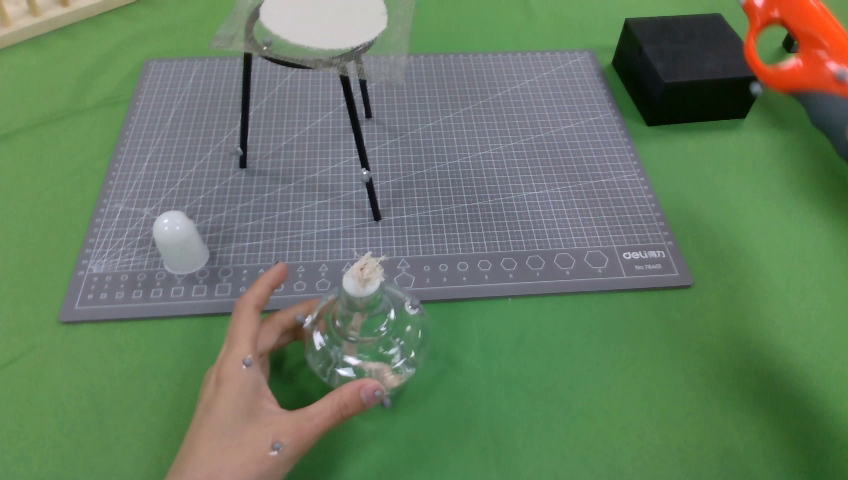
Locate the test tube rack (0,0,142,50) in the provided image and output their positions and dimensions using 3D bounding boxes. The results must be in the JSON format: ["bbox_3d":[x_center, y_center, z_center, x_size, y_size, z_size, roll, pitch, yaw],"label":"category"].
[{"bbox_3d":[-0.376,-0.278,0.619,0.242,0.086,0.066,-34,61,-26],"label":"test tube rack"}]

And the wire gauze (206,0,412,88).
[{"bbox_3d":[-0.069,-0.151,0.412,0.125,0.011,0.120,7,51,1],"label":"wire gauze"}]

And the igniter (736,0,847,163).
[{"bbox_3d":[0.207,-0.144,0.365,0.025,0.057,0.274,-1,60,-56],"label":"igniter"}]

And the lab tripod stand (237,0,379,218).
[{"bbox_3d":[-0.077,-0.104,0.460,0.148,0.132,0.147,3,51,-3],"label":"lab tripod stand"}]

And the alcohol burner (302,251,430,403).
[{"bbox_3d":[-0.036,0.048,0.358,0.078,0.120,0.077,0,52,0],"label":"alcohol burner"}]

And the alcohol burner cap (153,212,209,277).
[{"bbox_3d":[-0.175,0.000,0.431,0.034,0.048,0.033,2,51,-3],"label":"alcohol burner cap"}]
